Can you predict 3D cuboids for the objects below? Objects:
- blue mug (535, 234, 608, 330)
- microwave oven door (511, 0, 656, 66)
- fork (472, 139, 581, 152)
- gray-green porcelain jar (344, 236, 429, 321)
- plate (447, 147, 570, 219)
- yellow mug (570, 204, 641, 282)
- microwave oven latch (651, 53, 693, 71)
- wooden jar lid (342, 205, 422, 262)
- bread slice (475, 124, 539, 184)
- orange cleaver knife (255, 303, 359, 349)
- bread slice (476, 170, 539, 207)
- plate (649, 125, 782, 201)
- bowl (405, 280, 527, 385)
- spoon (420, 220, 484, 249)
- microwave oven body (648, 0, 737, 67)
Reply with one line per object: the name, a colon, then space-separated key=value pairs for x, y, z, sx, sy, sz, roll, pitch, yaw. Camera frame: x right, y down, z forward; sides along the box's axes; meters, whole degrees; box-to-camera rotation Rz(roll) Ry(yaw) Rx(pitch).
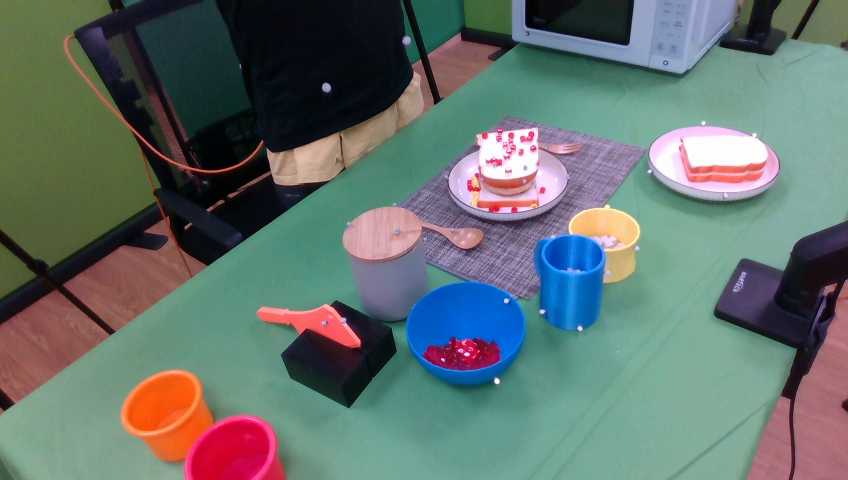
blue mug: x=0.191 y=0.048 z=0.824 sx=0.082 sy=0.106 sz=0.115 roll=-26 pitch=44 yaw=-21
microwave oven door: x=0.350 y=-0.539 z=1.349 sx=0.353 sy=0.245 sz=0.039 roll=24 pitch=50 yaw=31
fork: x=0.193 y=-0.184 z=1.153 sx=0.206 sy=0.019 sz=0.028 roll=7 pitch=48 yaw=14
gray-green porcelain jar: x=-0.049 y=0.042 z=0.849 sx=0.106 sy=0.127 sz=0.105 roll=-4 pitch=41 yaw=4
plate: x=0.145 y=-0.098 z=1.046 sx=0.209 sy=0.038 sz=0.208 roll=-4 pitch=40 yaw=4
yellow mug: x=0.268 y=-0.005 z=0.904 sx=0.099 sy=0.064 sz=0.130 roll=7 pitch=41 yaw=15
microwave oven latch: x=0.532 y=-0.386 z=1.301 sx=0.078 sy=0.029 sz=0.030 roll=27 pitch=52 yaw=34
wooden jar lid: x=-0.055 y=-0.006 z=0.808 sx=0.108 sy=0.021 sz=0.108 roll=-6 pitch=40 yaw=6
bread slice: x=0.143 y=-0.144 z=1.009 sx=0.107 sy=0.018 sz=0.133 roll=-7 pitch=46 yaw=8
orange cleaver knife: x=-0.161 y=0.115 z=0.813 sx=0.209 sy=0.077 sz=0.012 roll=-4 pitch=30 yaw=47
bread slice: x=0.144 y=-0.104 z=1.058 sx=0.105 sy=0.019 sz=0.131 roll=-1 pitch=42 yaw=5
plate: x=0.493 y=-0.128 z=1.036 sx=0.207 sy=0.039 sz=0.206 roll=-4 pitch=41 yaw=4
bowl: x=0.055 y=0.131 z=0.767 sx=0.151 sy=0.077 sz=0.150 roll=-4 pitch=40 yaw=4
spoon: x=0.010 y=-0.022 z=0.989 sx=0.192 sy=0.022 sz=0.041 roll=17 pitch=68 yaw=25
microwave oven body: x=0.475 y=-0.602 z=1.411 sx=0.438 sy=0.261 sz=0.327 roll=23 pitch=50 yaw=32
